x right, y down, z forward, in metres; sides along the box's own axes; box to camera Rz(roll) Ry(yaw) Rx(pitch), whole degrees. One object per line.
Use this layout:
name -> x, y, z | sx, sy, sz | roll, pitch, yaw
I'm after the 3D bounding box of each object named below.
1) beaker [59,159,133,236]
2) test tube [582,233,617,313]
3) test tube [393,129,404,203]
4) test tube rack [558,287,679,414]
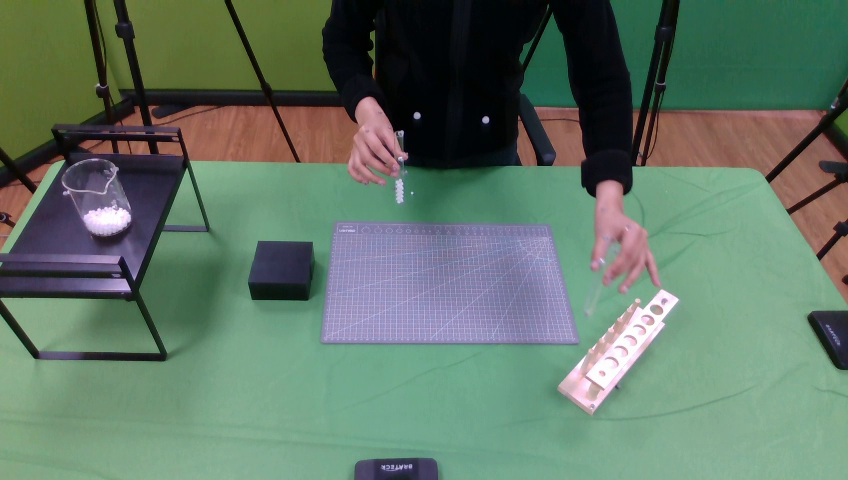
beaker -> -0.488, -0.060, 0.915 | 0.074, 0.101, 0.083 | -35, 58, -31
test tube -> 0.258, 0.053, 0.895 | 0.017, 0.151, 0.017 | 3, 38, -2
test tube -> -0.042, -0.119, 1.005 | 0.017, 0.151, 0.017 | 0, 45, 0
test tube rack -> 0.326, 0.170, 1.009 | 0.066, 0.085, 0.242 | 36, 54, 27
